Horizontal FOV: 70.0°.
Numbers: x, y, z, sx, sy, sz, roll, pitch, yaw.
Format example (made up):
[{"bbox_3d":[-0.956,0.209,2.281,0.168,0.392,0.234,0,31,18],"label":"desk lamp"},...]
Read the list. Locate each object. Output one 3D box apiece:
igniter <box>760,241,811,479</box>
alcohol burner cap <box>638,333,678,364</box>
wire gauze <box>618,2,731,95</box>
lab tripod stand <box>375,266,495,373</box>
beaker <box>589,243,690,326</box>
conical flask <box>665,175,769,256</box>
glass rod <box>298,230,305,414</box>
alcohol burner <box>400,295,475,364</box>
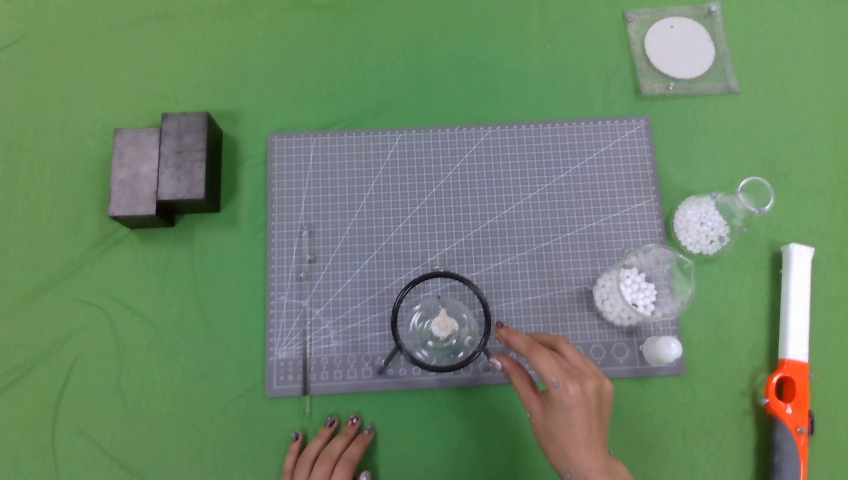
[{"bbox_3d":[0.388,0.137,0.648,0.057,0.025,0.275,12,77,-8],"label":"igniter"},{"bbox_3d":[0.250,0.113,0.641,0.034,0.048,0.033,0,77,-1],"label":"alcohol burner cap"},{"bbox_3d":[0.307,-0.233,0.741,0.125,0.011,0.121,-4,78,-4],"label":"wire gauze"},{"bbox_3d":[0.010,0.088,0.596,0.148,0.132,0.147,0,79,-1],"label":"lab tripod stand"},{"bbox_3d":[0.219,0.049,0.625,0.084,0.100,0.073,-26,78,-7],"label":"beaker"},{"bbox_3d":[0.311,-0.031,0.636,0.075,0.122,0.075,0,76,0],"label":"conical flask"},{"bbox_3d":[-0.133,0.086,0.657,0.008,0.008,0.199,-2,80,-2],"label":"glass rod"},{"bbox_3d":[0.013,0.090,0.605,0.078,0.119,0.077,0,76,1],"label":"alcohol burner"}]
